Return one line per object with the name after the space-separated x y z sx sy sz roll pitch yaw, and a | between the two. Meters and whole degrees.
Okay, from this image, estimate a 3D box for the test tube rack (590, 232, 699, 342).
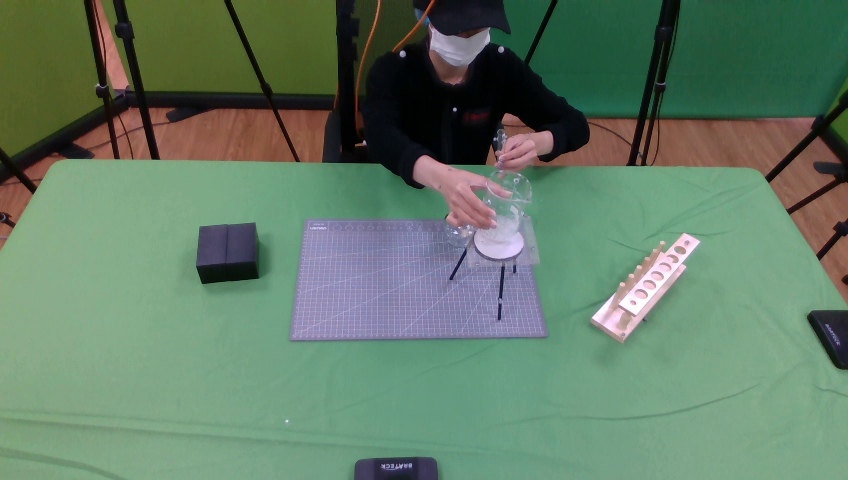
0.407 0.074 1.112 0.066 0.085 0.242 35 53 26 | test tube rack

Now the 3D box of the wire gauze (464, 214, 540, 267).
0.131 -0.002 1.034 0.121 0.011 0.124 1 45 -2 | wire gauze

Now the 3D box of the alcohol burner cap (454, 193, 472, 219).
0.076 -0.068 1.151 0.034 0.048 0.033 4 46 -4 | alcohol burner cap

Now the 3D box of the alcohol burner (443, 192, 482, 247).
0.075 -0.044 1.177 0.078 0.120 0.077 1 44 -1 | alcohol burner

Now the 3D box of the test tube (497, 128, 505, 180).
0.152 -0.167 1.201 0.017 0.151 0.017 -3 59 5 | test tube

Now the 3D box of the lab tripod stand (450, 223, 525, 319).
0.120 0.046 1.080 0.148 0.132 0.147 1 47 -1 | lab tripod stand

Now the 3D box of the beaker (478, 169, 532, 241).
0.132 -0.053 0.996 0.083 0.101 0.074 34 51 22 | beaker
